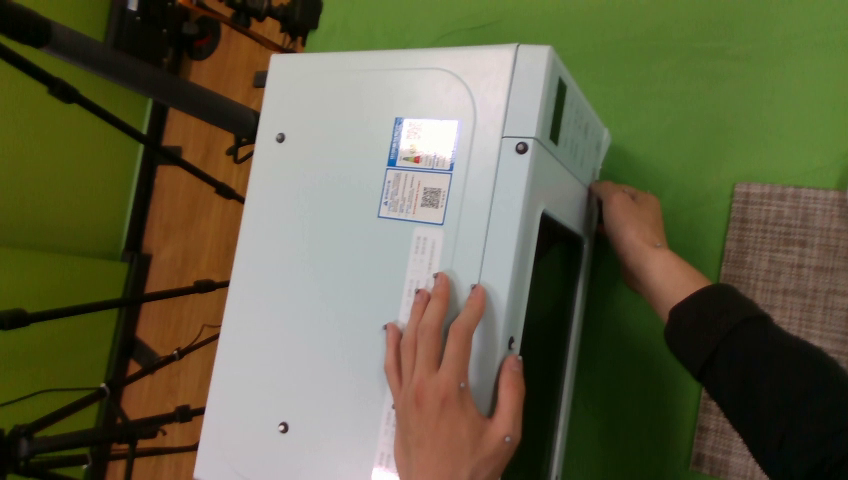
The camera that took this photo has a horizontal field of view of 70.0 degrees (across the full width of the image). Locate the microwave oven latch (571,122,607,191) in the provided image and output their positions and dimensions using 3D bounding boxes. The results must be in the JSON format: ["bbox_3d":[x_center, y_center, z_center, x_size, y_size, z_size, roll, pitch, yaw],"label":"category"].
[{"bbox_3d":[0.180,-0.093,0.678,0.030,0.030,0.079,22,93,28],"label":"microwave oven latch"}]

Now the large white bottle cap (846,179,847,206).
[{"bbox_3d":[0.454,-0.046,0.551,0.114,0.018,0.114,-5,79,27],"label":"large white bottle cap"}]

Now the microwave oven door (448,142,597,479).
[{"bbox_3d":[0.097,0.111,0.573,0.039,0.246,0.355,7,85,29],"label":"microwave oven door"}]

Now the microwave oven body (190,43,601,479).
[{"bbox_3d":[-0.020,0.054,0.650,0.324,0.262,0.441,8,86,28],"label":"microwave oven body"}]
